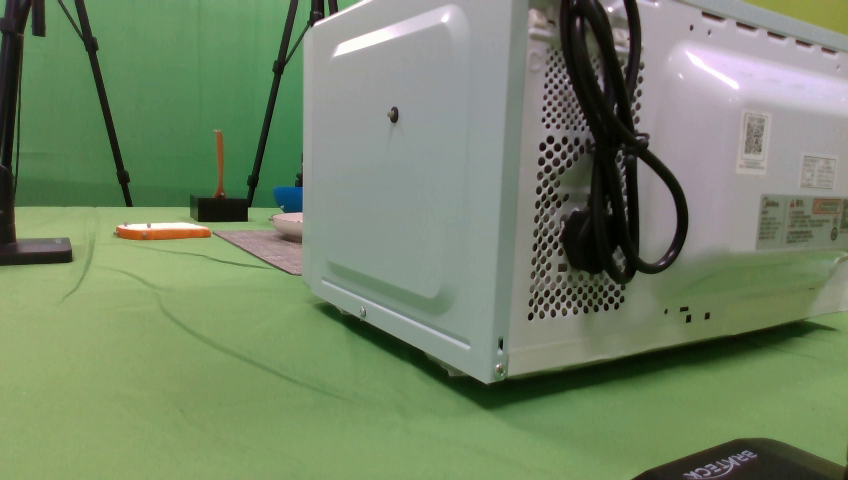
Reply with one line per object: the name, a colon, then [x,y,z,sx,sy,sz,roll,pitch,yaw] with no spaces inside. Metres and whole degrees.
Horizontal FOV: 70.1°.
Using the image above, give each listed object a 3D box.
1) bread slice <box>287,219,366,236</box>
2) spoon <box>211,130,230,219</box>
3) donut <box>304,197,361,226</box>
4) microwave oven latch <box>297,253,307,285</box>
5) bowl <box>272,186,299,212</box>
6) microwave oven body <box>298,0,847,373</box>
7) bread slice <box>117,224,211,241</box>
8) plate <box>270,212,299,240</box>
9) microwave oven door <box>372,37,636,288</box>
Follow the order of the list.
bread slice: [-0.170,-0.022,1.056,0.134,0.018,0.107,2,7,-6]
spoon: [-0.436,-0.138,1.296,0.042,0.193,0.021,-3,23,-27]
donut: [-0.159,-0.050,1.055,0.099,0.048,0.099,3,8,0]
microwave oven latch: [-0.081,0.027,0.582,0.079,0.029,0.030,-1,7,-32]
bowl: [-0.254,-0.075,1.318,0.151,0.077,0.151,2,7,0]
microwave oven body: [0.151,-0.055,0.542,0.444,0.260,0.324,-2,7,-33]
bread slice: [-0.443,-0.015,1.022,0.132,0.019,0.104,-4,8,-45]
plate: [-0.162,-0.022,1.058,0.208,0.039,0.207,2,7,0]
microwave oven door: [0.110,-0.080,0.686,0.358,0.243,0.039,-2,9,-33]
